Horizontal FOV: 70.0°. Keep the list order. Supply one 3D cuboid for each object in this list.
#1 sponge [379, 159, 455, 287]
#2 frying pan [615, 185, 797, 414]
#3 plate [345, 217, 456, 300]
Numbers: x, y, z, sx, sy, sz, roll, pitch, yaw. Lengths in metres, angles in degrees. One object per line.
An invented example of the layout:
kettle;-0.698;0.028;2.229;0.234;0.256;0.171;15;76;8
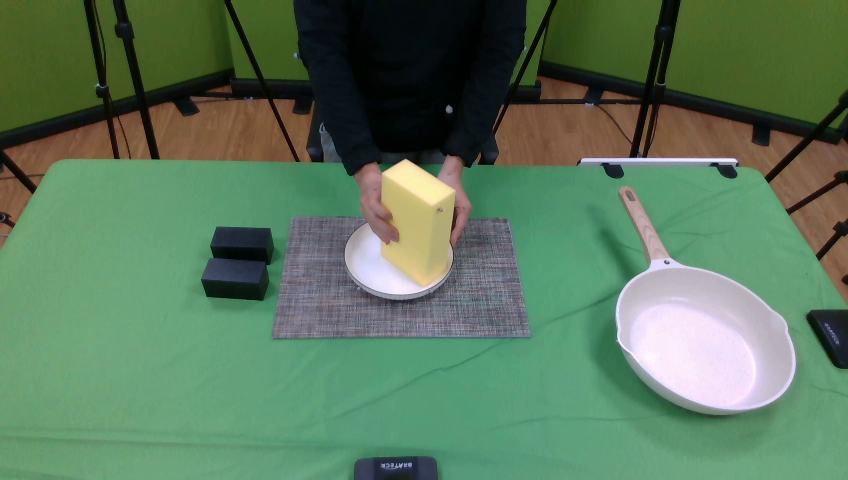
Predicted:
sponge;-0.017;-0.027;1.079;0.117;0.208;0.061;35;53;26
frying pan;0.450;0.087;1.092;0.307;0.103;0.484;-4;55;-10
plate;-0.045;0.035;1.146;0.208;0.039;0.206;2;46;-2
